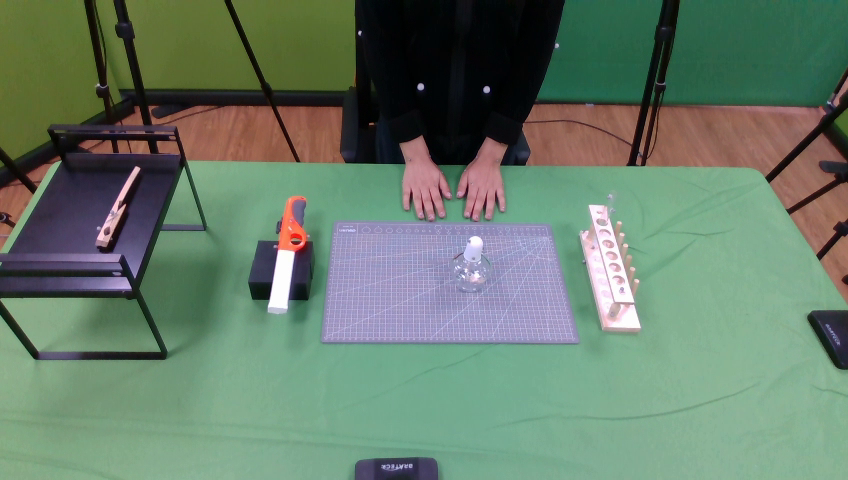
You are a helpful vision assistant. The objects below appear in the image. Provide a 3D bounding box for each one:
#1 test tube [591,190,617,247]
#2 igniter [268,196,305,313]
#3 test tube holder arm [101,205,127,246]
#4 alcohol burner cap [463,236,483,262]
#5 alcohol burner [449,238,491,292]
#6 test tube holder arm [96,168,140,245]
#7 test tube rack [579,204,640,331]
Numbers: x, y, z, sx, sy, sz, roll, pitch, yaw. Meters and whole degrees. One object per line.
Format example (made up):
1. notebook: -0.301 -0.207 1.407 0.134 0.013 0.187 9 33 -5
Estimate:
1. test tube: 0.340 -0.038 1.149 0.017 0.151 0.017 1 50 -1
2. igniter: -0.248 0.016 1.095 0.057 0.025 0.274 8 46 -12
3. test tube holder arm: -0.480 -0.025 0.938 0.010 0.015 0.087 27 37 -26
4. alcohol burner cap: 0.089 0.013 1.075 0.034 0.048 0.033 4 47 -4
5. alcohol burner: 0.086 0.038 1.101 0.078 0.119 0.077 3 45 -2
6. test tube holder arm: -0.486 -0.058 0.968 0.013 0.015 0.177 27 37 -27
7. test tube rack: 0.353 0.047 1.137 0.067 0.085 0.241 2 46 -2
